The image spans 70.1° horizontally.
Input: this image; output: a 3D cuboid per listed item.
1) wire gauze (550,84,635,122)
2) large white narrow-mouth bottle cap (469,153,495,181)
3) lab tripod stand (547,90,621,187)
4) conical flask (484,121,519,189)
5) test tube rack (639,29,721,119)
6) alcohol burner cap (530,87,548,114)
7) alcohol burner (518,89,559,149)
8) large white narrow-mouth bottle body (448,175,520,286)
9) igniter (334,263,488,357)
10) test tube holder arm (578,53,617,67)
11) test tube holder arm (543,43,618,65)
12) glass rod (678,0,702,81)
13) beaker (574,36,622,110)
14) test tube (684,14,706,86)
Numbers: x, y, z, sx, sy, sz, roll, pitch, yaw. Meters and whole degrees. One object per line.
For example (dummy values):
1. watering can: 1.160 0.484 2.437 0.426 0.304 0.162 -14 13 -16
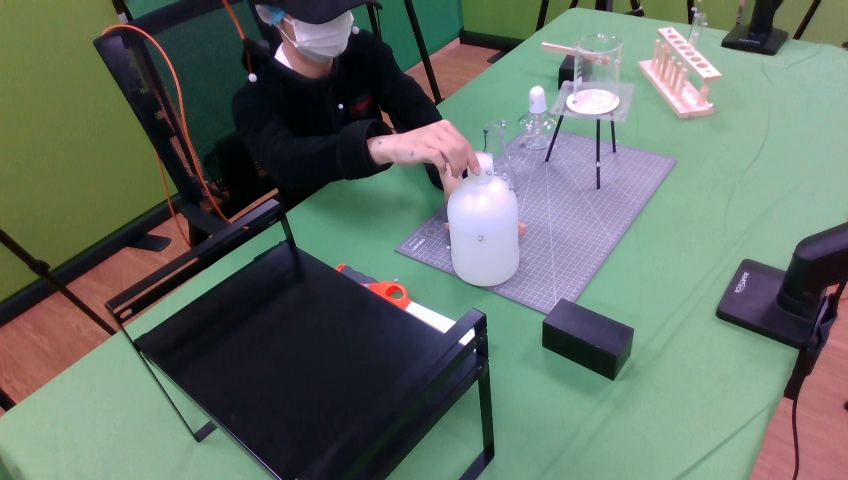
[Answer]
1. wire gauze: 0.285 -0.234 1.021 0.124 0.011 0.121 8 41 23
2. large white narrow-mouth bottle cap: 0.078 -0.098 0.811 0.038 0.024 0.037 -4 40 4
3. lab tripod stand: 0.289 -0.184 1.062 0.148 0.132 0.147 -6 41 6
4. conical flask: 0.126 -0.145 1.051 0.075 0.122 0.075 -5 41 4
5. test tube rack: 0.527 -0.351 1.262 0.067 0.085 0.241 -8 40 1
6. alcohol burner cap: 0.212 -0.262 1.126 0.034 0.048 0.033 -9 36 7
7. alcohol burner: 0.218 -0.235 1.149 0.078 0.119 0.077 -5 43 5
8. large white narrow-mouth bottle body: 0.086 -0.032 0.868 0.102 0.195 0.101 -4 40 4
9. igniter: -0.030 0.095 0.872 0.274 0.025 0.057 23 60 31
10. test tube holder arm: 0.376 -0.393 1.314 0.087 0.015 0.010 26 51 32
11. test tube holder arm: 0.345 -0.413 1.341 0.177 0.015 0.013 25 50 31
12. glass rod: 0.543 -0.417 1.233 0.008 0.200 0.008 1 39 0
13. beaker: 0.284 -0.273 0.990 0.073 0.101 0.084 16 46 28
14. test tube: 0.540 -0.378 1.215 0.017 0.151 0.017 -2 44 3
